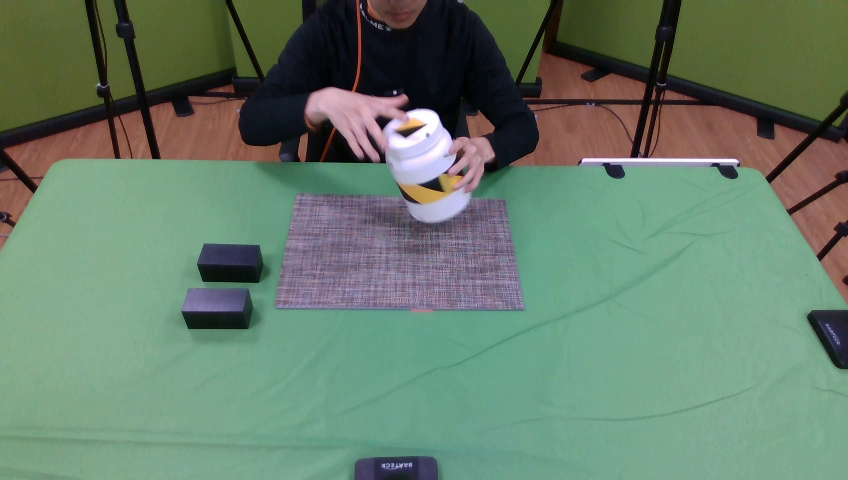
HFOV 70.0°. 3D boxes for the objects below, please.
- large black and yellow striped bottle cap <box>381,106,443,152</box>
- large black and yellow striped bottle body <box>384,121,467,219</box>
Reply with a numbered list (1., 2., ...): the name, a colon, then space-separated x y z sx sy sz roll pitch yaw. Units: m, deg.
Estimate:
1. large black and yellow striped bottle cap: -0.023 -0.202 1.097 0.115 0.019 0.114 -11 44 11
2. large black and yellow striped bottle body: 0.001 -0.146 1.155 0.131 0.185 0.130 -11 45 12
